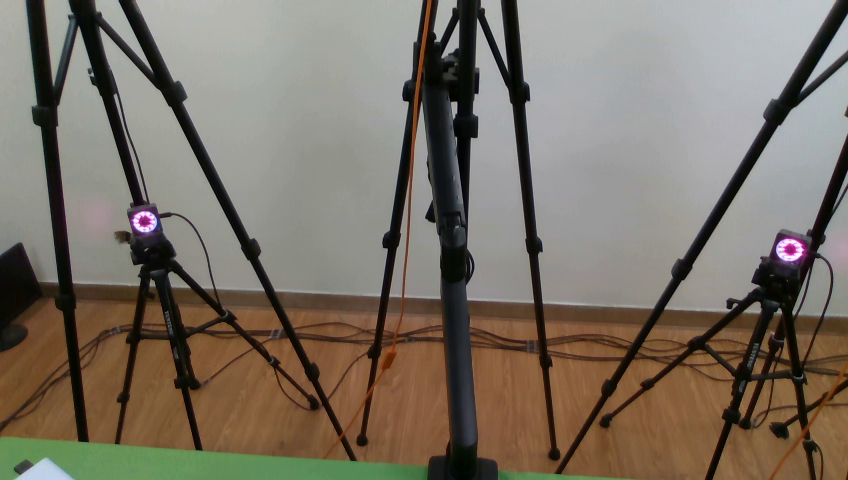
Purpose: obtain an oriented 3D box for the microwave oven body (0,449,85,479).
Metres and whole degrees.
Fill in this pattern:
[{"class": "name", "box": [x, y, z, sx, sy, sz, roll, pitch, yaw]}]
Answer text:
[{"class": "microwave oven body", "box": [-0.485, 0.507, 0.634, 0.323, 0.262, 0.441, 19, 39, 26]}]
